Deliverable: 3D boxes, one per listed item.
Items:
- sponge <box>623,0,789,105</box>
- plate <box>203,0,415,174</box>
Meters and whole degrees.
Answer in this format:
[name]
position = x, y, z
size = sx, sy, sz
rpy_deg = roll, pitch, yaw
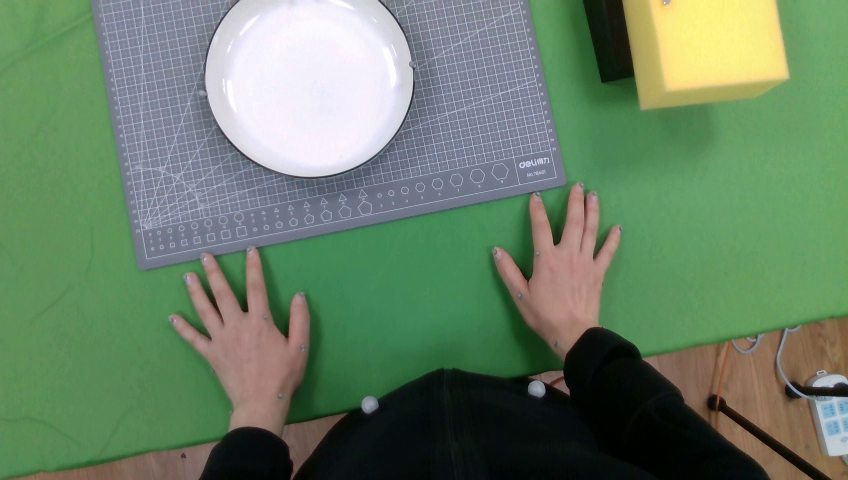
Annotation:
[sponge]
position = 0.257, -0.242, 0.576
size = 0.118, 0.061, 0.206
rpy_deg = -8, 87, -2
[plate]
position = -0.113, -0.168, 0.616
size = 0.209, 0.038, 0.208
rpy_deg = 0, 87, -2
